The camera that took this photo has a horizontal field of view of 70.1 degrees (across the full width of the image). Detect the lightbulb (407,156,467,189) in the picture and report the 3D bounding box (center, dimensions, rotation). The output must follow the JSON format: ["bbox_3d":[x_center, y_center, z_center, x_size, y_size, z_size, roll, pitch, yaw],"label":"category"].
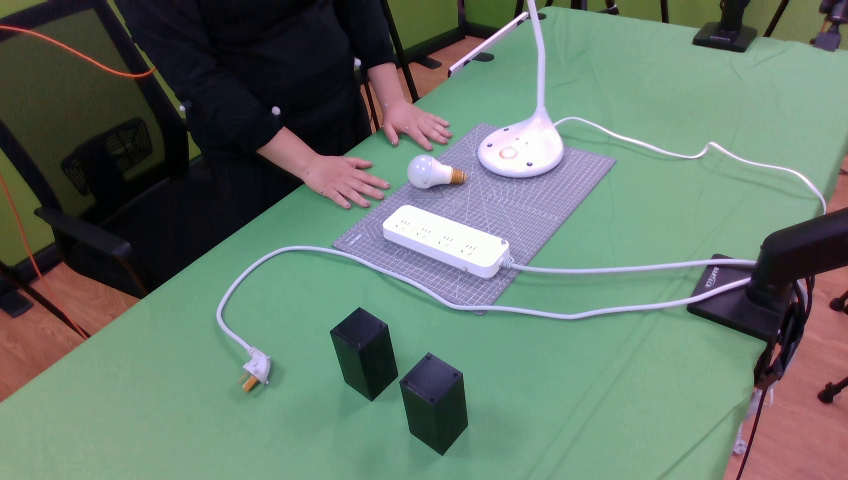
[{"bbox_3d":[0.023,-0.117,1.081,0.108,0.059,0.059,7,40,-7],"label":"lightbulb"}]

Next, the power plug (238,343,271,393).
[{"bbox_3d":[-0.229,0.172,0.801,0.072,0.035,0.053,7,51,51],"label":"power plug"}]

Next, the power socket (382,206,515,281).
[{"bbox_3d":[0.032,0.002,0.950,0.225,0.033,0.072,21,49,29],"label":"power socket"}]

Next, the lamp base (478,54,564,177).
[{"bbox_3d":[0.180,-0.232,1.090,0.159,0.181,0.180,21,45,30],"label":"lamp base"}]
